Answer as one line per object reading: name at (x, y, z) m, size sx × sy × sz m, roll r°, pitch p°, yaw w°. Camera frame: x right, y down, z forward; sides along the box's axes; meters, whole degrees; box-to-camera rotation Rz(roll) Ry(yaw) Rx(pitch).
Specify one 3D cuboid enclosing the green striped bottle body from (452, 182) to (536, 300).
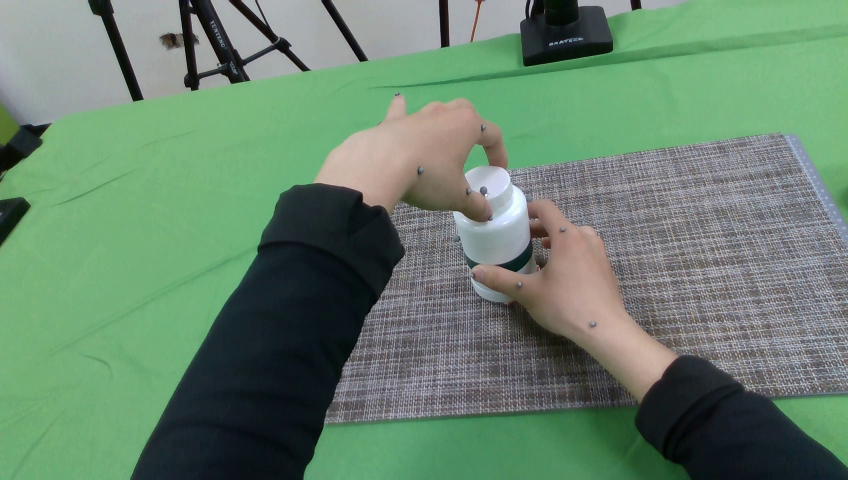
green striped bottle body at (0.061, -0.006, 0.532) m, size 0.063 × 0.120 × 0.062 m, roll -9°, pitch 45°, yaw 10°

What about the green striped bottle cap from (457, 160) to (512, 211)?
green striped bottle cap at (0.049, -0.044, 0.496) m, size 0.044 × 0.020 × 0.044 m, roll -11°, pitch 48°, yaw 13°
